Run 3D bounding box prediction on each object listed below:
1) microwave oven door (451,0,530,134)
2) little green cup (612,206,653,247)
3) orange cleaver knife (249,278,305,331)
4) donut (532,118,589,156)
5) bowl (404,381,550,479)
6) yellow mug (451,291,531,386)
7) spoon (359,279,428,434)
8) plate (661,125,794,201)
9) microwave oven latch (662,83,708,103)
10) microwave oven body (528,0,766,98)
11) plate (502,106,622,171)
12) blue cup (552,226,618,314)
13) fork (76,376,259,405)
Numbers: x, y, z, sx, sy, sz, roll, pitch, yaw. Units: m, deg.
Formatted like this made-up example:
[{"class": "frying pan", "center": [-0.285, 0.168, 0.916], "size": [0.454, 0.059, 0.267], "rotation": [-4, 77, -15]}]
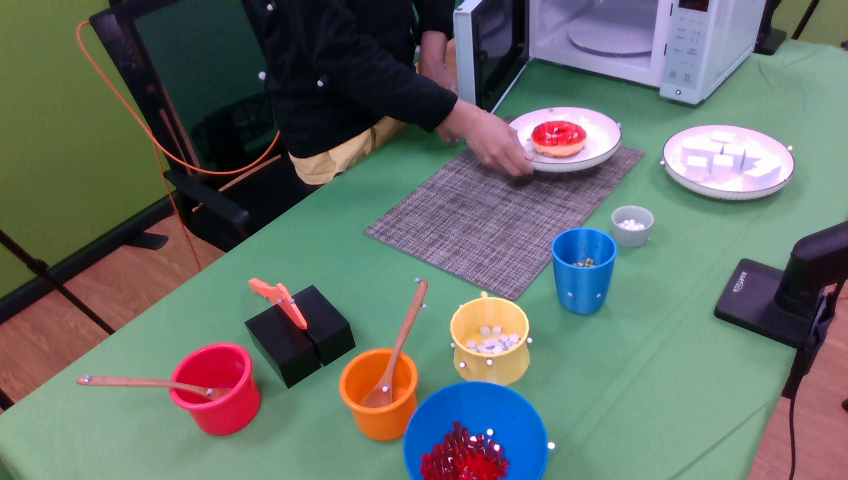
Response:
[{"class": "microwave oven door", "center": [0.147, -0.412, 1.239], "size": [0.039, 0.245, 0.356], "rotation": [12, 44, 22]}, {"class": "little green cup", "center": [0.321, -0.019, 0.936], "size": [0.061, 0.039, 0.061], "rotation": [-4, 41, 4]}, {"class": "orange cleaver knife", "center": [-0.210, 0.088, 0.856], "size": [0.012, 0.077, 0.210], "rotation": [-28, 15, -25]}, {"class": "donut", "center": [0.243, -0.184, 1.078], "size": [0.099, 0.048, 0.098], "rotation": [-4, 36, 4]}, {"class": "bowl", "center": [0.058, 0.235, 0.645], "size": [0.151, 0.077, 0.150], "rotation": [-4, 39, 4]}, {"class": "yellow mug", "center": [0.086, 0.120, 0.786], "size": [0.100, 0.064, 0.130], "rotation": [-7, 39, 1]}, {"class": "spoon", "center": [-0.032, 0.138, 0.719], "size": [0.041, 0.193, 0.022], "rotation": [22, 4, 30]}, {"class": "plate", "center": [0.513, -0.128, 1.035], "size": [0.207, 0.039, 0.206], "rotation": [-4, 40, 4]}, {"class": "microwave oven latch", "center": [0.518, -0.296, 1.204], "size": [0.078, 0.029, 0.030], "rotation": [28, 52, 36]}, {"class": "microwave oven body", "center": [0.472, -0.513, 1.317], "size": [0.438, 0.261, 0.327], "rotation": [26, 51, 34]}, {"class": "plate", "center": [0.246, -0.179, 1.088], "size": [0.209, 0.038, 0.208], "rotation": [-5, 38, 4]}, {"class": "blue cup", "center": [0.218, 0.047, 0.826], "size": [0.092, 0.100, 0.092], "rotation": [-6, 40, 5]}, {"class": "fork", "center": [-0.295, 0.176, 0.716], "size": [0.209, 0.018, 0.028], "rotation": [19, 26, -36]}]
